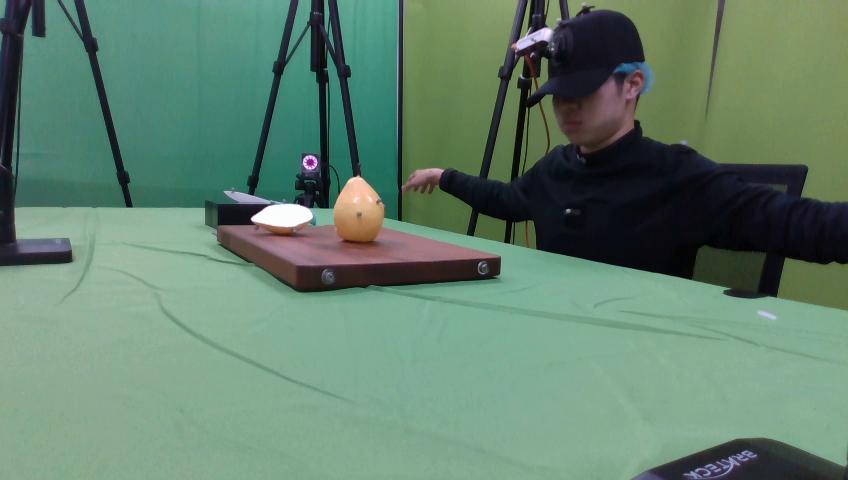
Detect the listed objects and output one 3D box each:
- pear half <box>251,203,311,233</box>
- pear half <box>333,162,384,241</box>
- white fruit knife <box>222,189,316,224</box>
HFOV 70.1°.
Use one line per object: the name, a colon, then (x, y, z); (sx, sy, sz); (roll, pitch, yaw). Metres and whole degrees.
pear half: (-0.212, -0.027, 0.899); (0.088, 0.031, 0.070); (-16, 31, -25)
pear half: (-0.085, -0.053, 0.842); (0.056, 0.110, 0.076); (7, 12, 28)
white fruit knife: (-0.311, -0.071, 1.236); (0.208, 0.027, 0.016); (16, 6, -37)
